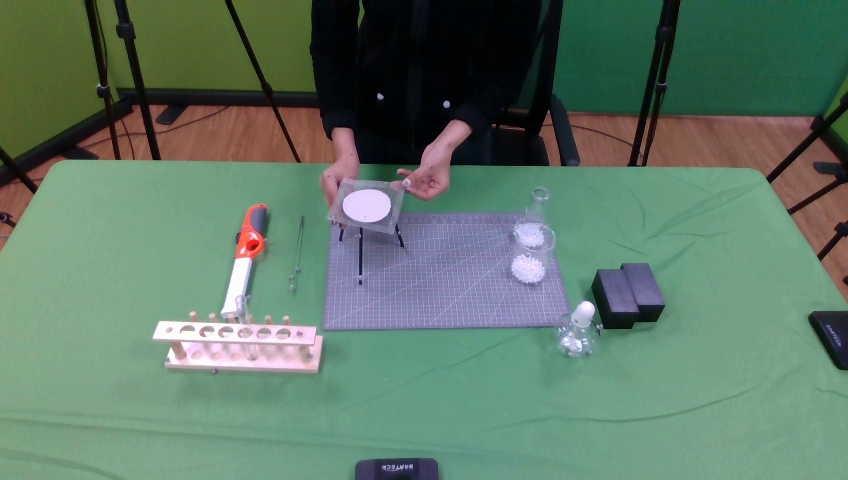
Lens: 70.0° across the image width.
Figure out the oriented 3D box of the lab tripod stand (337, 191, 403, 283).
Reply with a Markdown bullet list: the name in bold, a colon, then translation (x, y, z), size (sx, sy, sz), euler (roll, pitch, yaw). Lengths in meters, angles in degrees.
- **lab tripod stand**: translation (-0.106, -0.016, 1.125), size (0.148, 0.132, 0.147), euler (3, 44, -2)

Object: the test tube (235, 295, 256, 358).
- **test tube**: translation (-0.274, 0.136, 0.933), size (0.017, 0.151, 0.017), euler (4, 45, -4)

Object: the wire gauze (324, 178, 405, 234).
- **wire gauze**: translation (-0.104, -0.066, 1.079), size (0.125, 0.011, 0.121), euler (9, 46, 5)

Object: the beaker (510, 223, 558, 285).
- **beaker**: translation (0.199, 0.028, 1.132), size (0.083, 0.101, 0.074), euler (26, 50, 21)

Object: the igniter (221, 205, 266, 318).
- **igniter**: translation (-0.338, 0.030, 1.140), size (0.057, 0.025, 0.274), euler (-5, 46, 3)

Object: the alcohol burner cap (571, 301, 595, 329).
- **alcohol burner cap**: translation (0.262, 0.120, 0.991), size (0.034, 0.048, 0.033), euler (2, 52, -2)

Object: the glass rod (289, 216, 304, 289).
- **glass rod**: translation (-0.246, 0.020, 1.171), size (0.008, 0.008, 0.198), euler (1, 43, -3)

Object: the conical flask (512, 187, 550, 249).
- **conical flask**: translation (0.217, -0.048, 1.190), size (0.075, 0.122, 0.075), euler (2, 46, -2)

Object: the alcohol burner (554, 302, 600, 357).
- **alcohol burner**: translation (0.260, 0.143, 1.018), size (0.078, 0.119, 0.077), euler (3, 45, -3)

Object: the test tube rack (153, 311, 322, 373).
- **test tube rack**: translation (-0.293, 0.160, 0.978), size (0.242, 0.085, 0.066), euler (3, 46, -2)
